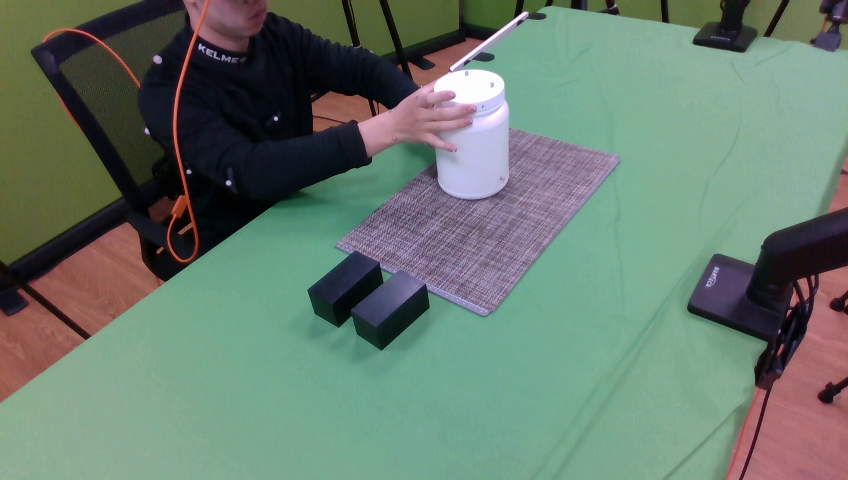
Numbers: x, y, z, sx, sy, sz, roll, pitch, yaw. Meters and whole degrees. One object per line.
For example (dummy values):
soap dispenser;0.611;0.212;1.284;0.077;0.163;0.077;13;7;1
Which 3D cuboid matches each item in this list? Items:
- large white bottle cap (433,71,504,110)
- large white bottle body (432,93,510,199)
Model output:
large white bottle cap;0.072;-0.243;0.974;0.115;0.018;0.114;-2;39;2
large white bottle body;0.081;-0.177;1.032;0.130;0.185;0.130;-3;40;3
